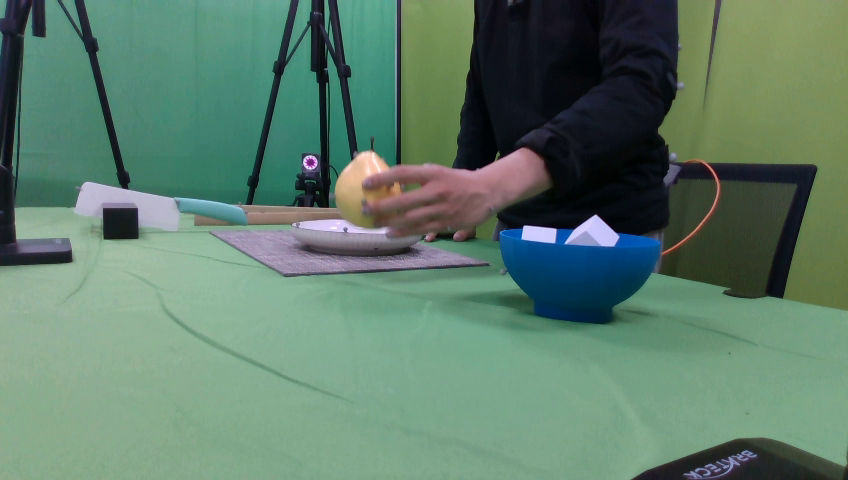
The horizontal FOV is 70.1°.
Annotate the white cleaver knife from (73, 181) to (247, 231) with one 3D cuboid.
[{"bbox_3d":[-0.465,-0.052,1.090,0.288,0.066,0.021,9,6,-30],"label":"white cleaver knife"}]

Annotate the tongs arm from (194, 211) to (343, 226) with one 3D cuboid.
[{"bbox_3d":[-0.298,-0.050,1.308,0.390,0.028,0.028,-3,7,-38],"label":"tongs arm"}]

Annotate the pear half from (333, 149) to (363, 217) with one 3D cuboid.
[{"bbox_3d":[-0.084,-0.069,0.730,0.031,0.088,0.071,21,27,38],"label":"pear half"}]

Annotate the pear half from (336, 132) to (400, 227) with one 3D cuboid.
[{"bbox_3d":[-0.058,-0.068,0.704,0.055,0.110,0.077,20,28,38],"label":"pear half"}]

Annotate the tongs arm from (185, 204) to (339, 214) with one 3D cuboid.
[{"bbox_3d":[-0.337,-0.065,1.377,0.387,0.026,0.050,0,9,-25],"label":"tongs arm"}]

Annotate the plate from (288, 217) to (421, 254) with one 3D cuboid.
[{"bbox_3d":[-0.109,-0.008,0.956,0.208,0.039,0.207,2,8,0],"label":"plate"}]

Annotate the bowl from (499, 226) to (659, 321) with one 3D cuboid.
[{"bbox_3d":[0.145,0.032,0.584,0.151,0.077,0.151,2,7,0],"label":"bowl"}]
